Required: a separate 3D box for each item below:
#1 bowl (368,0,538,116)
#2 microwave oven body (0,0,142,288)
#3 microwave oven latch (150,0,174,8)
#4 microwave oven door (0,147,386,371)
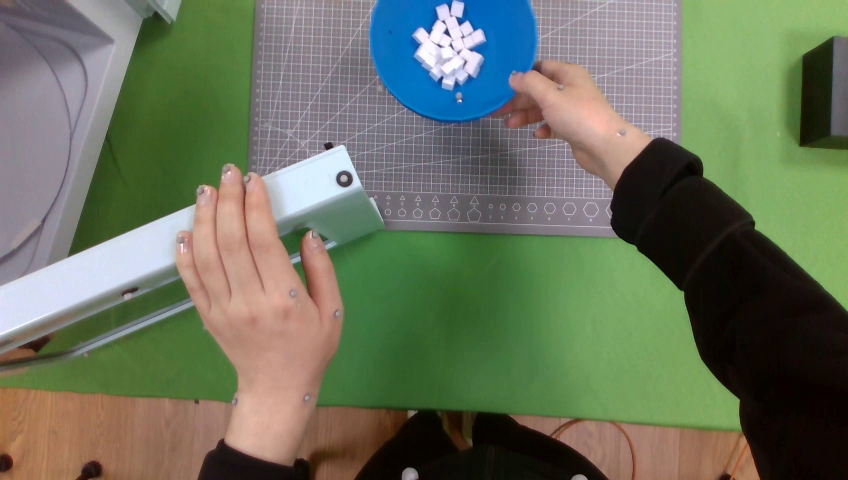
[{"bbox_3d":[0.026,-0.183,0.571,0.151,0.077,0.151,0,87,0],"label":"bowl"},{"bbox_3d":[-0.446,-0.152,0.498,0.326,0.260,0.441,16,88,-1],"label":"microwave oven body"},{"bbox_3d":[-0.256,-0.276,0.603,0.030,0.029,0.079,17,88,0],"label":"microwave oven latch"},{"bbox_3d":[-0.207,0.025,0.488,0.356,0.244,0.039,-23,86,-2],"label":"microwave oven door"}]
